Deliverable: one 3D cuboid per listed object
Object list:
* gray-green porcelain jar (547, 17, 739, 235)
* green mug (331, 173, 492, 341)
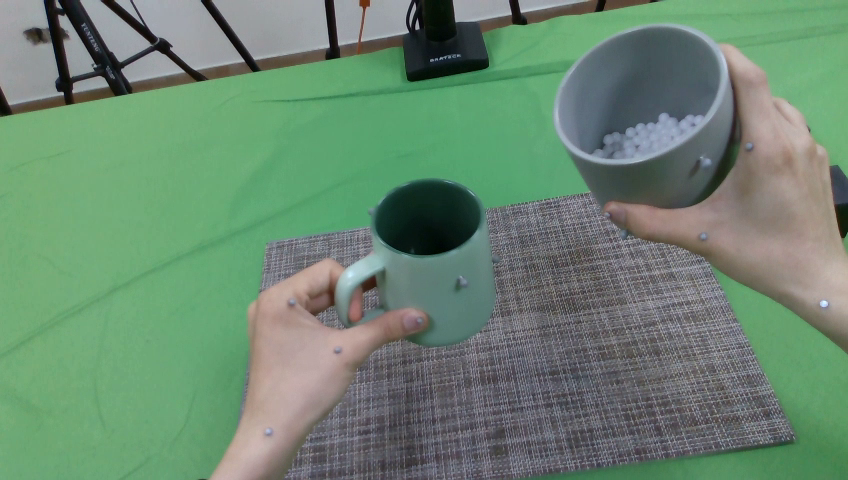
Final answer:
[{"bbox_3d":[0.156,-0.069,0.418,0.105,0.128,0.105,-15,58,26],"label":"gray-green porcelain jar"},{"bbox_3d":[-0.010,0.022,0.445,0.125,0.106,0.091,-28,52,-19],"label":"green mug"}]
